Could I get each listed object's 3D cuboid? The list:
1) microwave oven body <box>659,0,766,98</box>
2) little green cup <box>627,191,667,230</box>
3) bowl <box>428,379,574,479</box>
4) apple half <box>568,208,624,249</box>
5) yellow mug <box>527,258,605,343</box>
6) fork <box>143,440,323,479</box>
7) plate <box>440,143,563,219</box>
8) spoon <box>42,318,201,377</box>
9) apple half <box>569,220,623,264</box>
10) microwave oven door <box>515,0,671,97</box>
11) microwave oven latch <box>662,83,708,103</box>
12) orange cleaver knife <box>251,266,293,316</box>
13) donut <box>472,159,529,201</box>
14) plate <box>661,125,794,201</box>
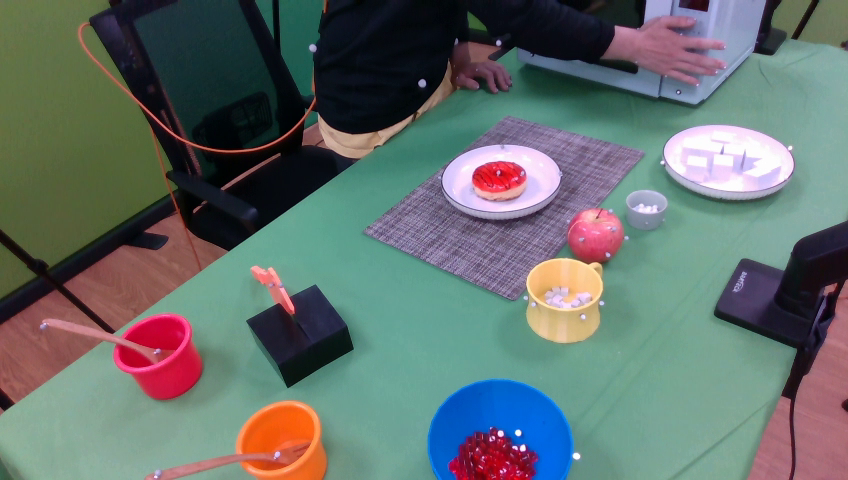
[{"bbox_3d":[0.473,-0.513,1.317,0.438,0.261,0.327,26,51,34],"label":"microwave oven body"},{"bbox_3d":[0.352,-0.046,0.963,0.061,0.039,0.061,-4,40,4],"label":"little green cup"},{"bbox_3d":[0.082,0.233,0.645,0.151,0.077,0.150,-4,39,4],"label":"bowl"},{"bbox_3d":[0.260,-0.014,0.914,0.080,0.075,0.053,0,36,15],"label":"apple half"},{"bbox_3d":[0.202,0.072,0.825,0.131,0.064,0.099,-32,46,-27],"label":"yellow mug"},{"bbox_3d":[-0.189,0.231,0.631,0.028,0.018,0.209,38,14,37],"label":"fork"},{"bbox_3d":[0.135,-0.098,1.052,0.209,0.038,0.208,-4,40,4],"label":"plate"},{"bbox_3d":[-0.385,0.135,0.779,0.195,0.021,0.041,29,37,-27],"label":"spoon"},{"bbox_3d":[0.251,0.010,0.884,0.081,0.081,0.032,3,37,12],"label":"apple half"},{"bbox_3d":[0.341,-0.453,1.257,0.353,0.245,0.039,27,52,34],"label":"microwave oven door"},{"bbox_3d":[0.518,-0.297,1.204,0.078,0.029,0.030,28,52,36],"label":"microwave oven latch"},{"bbox_3d":[-0.221,0.071,0.874,0.012,0.077,0.210,-25,11,-21],"label":"orange cleaver knife"},{"bbox_3d":[0.132,-0.105,1.043,0.099,0.048,0.098,-5,38,4],"label":"donut"},{"bbox_3d":[0.514,-0.128,1.035,0.207,0.039,0.206,-4,40,4],"label":"plate"}]
